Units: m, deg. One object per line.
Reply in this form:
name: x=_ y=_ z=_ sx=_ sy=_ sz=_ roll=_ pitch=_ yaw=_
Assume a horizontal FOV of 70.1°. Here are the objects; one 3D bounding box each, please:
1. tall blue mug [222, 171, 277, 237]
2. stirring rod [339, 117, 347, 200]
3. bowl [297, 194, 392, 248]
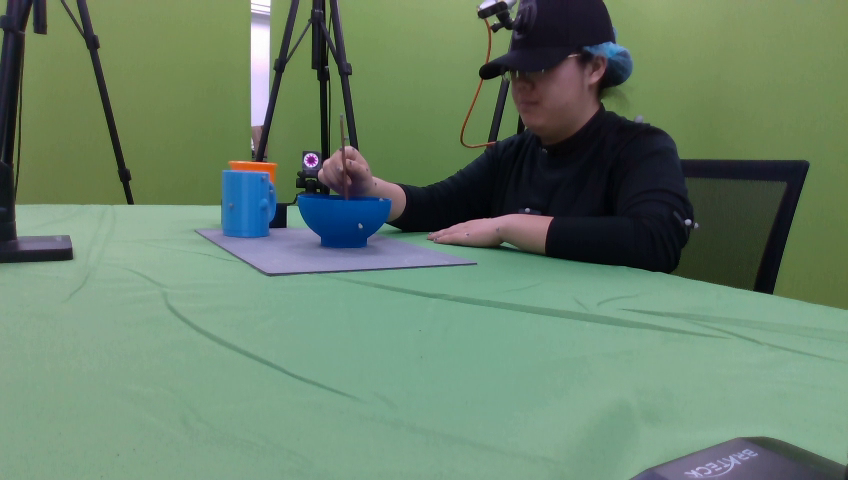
tall blue mug: x=-0.302 y=-0.064 z=1.043 sx=0.078 sy=0.108 sz=0.107 roll=1 pitch=7 yaw=-4
stirring rod: x=-0.126 y=-0.107 z=0.956 sx=0.006 sy=0.176 sz=0.014 roll=-3 pitch=3 yaw=-6
bowl: x=-0.127 y=-0.030 z=0.964 sx=0.151 sy=0.077 sz=0.151 roll=2 pitch=7 yaw=0
